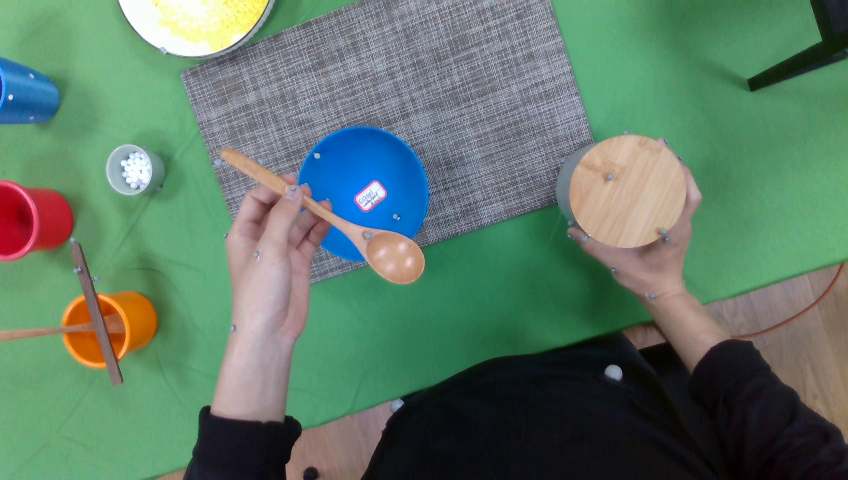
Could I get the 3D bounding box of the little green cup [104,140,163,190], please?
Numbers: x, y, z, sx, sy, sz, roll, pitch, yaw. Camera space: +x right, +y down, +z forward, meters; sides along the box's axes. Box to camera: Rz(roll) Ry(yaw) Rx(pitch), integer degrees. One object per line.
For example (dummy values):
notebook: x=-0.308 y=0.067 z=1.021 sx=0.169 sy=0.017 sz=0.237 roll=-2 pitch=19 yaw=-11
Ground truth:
little green cup: x=-0.360 y=-0.093 z=0.757 sx=0.061 sy=0.038 sz=0.061 roll=1 pitch=96 yaw=8

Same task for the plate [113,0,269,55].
plate: x=-0.274 y=-0.326 z=0.724 sx=0.209 sy=0.038 sz=0.209 roll=1 pitch=96 yaw=7

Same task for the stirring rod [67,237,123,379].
stirring rod: x=-0.390 y=0.081 z=0.720 sx=0.014 sy=0.006 sz=0.176 roll=-16 pitch=93 yaw=7

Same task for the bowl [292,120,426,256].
bowl: x=-0.068 y=-0.060 z=0.701 sx=0.151 sy=0.077 sz=0.151 roll=1 pitch=96 yaw=7

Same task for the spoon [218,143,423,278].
spoon: x=-0.086 y=-0.028 z=0.510 sx=0.194 sy=0.021 sz=0.041 roll=33 pitch=95 yaw=-12

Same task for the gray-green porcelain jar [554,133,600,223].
gray-green porcelain jar: x=0.196 y=-0.061 z=0.646 sx=0.106 sy=0.126 sz=0.106 roll=1 pitch=98 yaw=4

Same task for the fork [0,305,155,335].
fork: x=-0.438 y=0.100 z=0.730 sx=0.208 sy=0.018 sz=0.028 roll=-3 pitch=99 yaw=-36

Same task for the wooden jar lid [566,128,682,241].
wooden jar lid: x=0.191 y=-0.053 z=0.585 sx=0.108 sy=0.020 sz=0.108 roll=0 pitch=97 yaw=4

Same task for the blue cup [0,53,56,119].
blue cup: x=-0.510 y=-0.185 z=0.734 sx=0.092 sy=0.100 sz=0.093 roll=1 pitch=96 yaw=9
